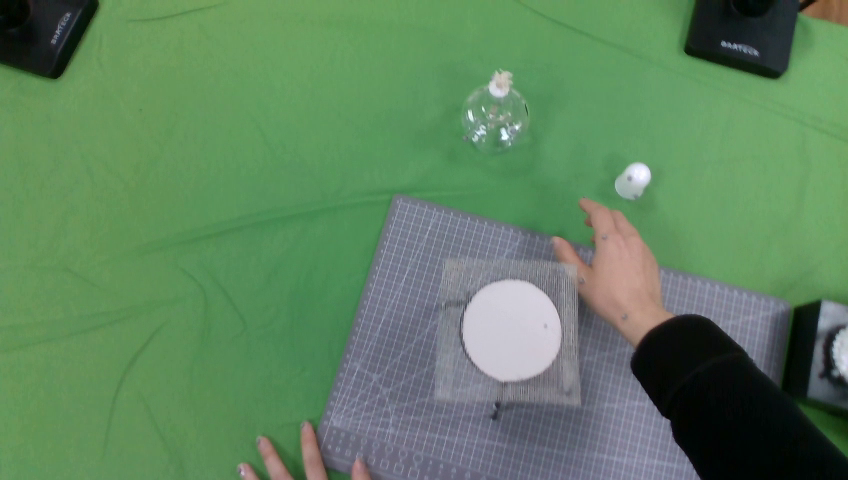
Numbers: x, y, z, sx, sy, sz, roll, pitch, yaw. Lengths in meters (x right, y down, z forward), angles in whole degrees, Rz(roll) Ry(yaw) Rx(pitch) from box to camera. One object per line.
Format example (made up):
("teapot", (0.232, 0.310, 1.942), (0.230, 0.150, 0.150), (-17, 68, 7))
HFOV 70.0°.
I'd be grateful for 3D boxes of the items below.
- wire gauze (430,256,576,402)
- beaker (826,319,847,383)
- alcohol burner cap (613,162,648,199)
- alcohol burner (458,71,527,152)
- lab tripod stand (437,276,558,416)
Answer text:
("wire gauze", (0.069, 0.075, 0.520), (0.121, 0.011, 0.124), (3, 77, 0))
("beaker", (0.428, 0.097, 0.550), (0.074, 0.101, 0.083), (26, 76, 8))
("alcohol burner cap", (0.232, -0.068, 0.675), (0.034, 0.048, 0.033), (-1, 74, 4))
("alcohol burner", (0.076, -0.144, 0.658), (0.078, 0.120, 0.077), (0, 73, 2))
("lab tripod stand", (0.074, 0.095, 0.584), (0.148, 0.132, 0.147), (0, 77, -1))
